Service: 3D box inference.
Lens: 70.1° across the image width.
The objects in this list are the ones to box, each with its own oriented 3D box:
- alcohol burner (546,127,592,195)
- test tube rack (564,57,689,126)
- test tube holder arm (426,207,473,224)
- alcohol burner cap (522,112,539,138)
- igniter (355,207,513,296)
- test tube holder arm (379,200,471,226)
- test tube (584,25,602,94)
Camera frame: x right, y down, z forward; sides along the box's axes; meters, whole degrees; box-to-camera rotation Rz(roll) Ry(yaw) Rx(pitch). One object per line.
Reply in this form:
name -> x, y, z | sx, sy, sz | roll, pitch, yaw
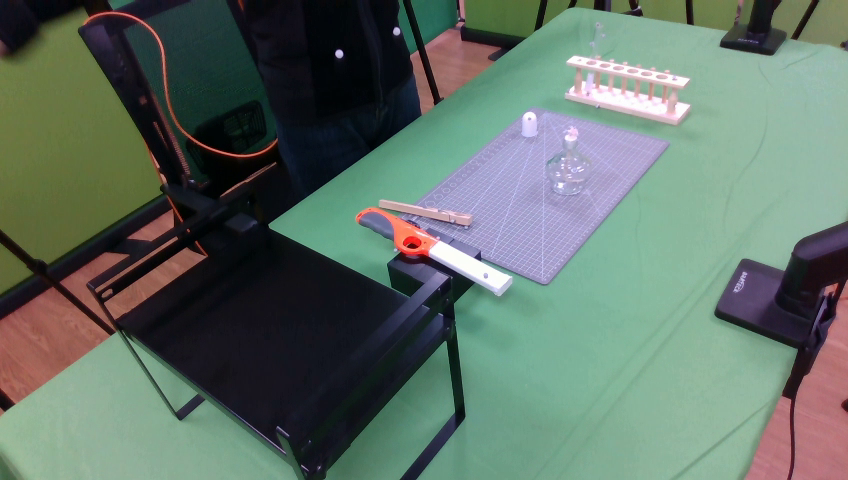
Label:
alcohol burner -> 0.246, -0.137, 1.024 | 0.078, 0.119, 0.077 | -4, 38, 4
test tube rack -> 0.411, -0.311, 1.230 | 0.240, 0.085, 0.067 | 23, 49, 32
test tube holder arm -> 0.041, -0.041, 1.016 | 0.087, 0.015, 0.010 | 12, 21, 26
alcohol burner cap -> 0.210, -0.230, 1.195 | 0.034, 0.048, 0.033 | -5, 41, 5
igniter -> 0.006, 0.010, 0.885 | 0.274, 0.025, 0.057 | 27, 53, 30
test tube holder arm -> -0.002, -0.048, 1.031 | 0.177, 0.015, 0.013 | 12, 21, 25
test tube -> 0.341, -0.362, 1.224 | 0.017, 0.151, 0.017 | -2, 45, 2
